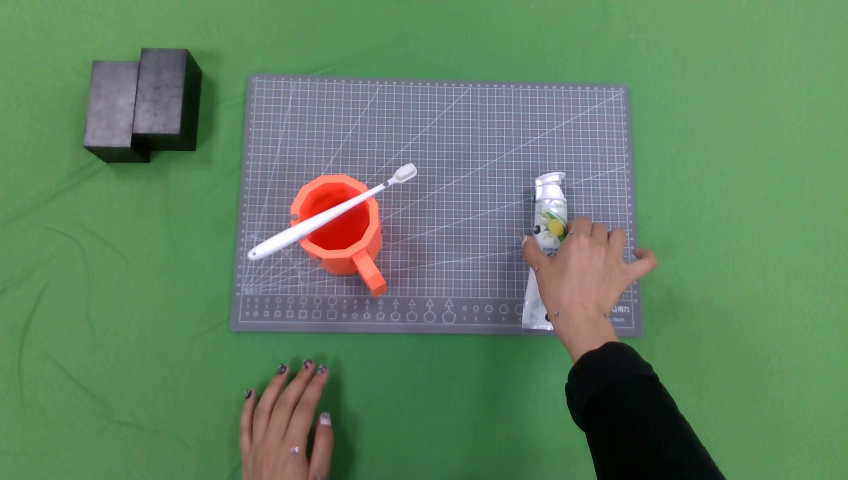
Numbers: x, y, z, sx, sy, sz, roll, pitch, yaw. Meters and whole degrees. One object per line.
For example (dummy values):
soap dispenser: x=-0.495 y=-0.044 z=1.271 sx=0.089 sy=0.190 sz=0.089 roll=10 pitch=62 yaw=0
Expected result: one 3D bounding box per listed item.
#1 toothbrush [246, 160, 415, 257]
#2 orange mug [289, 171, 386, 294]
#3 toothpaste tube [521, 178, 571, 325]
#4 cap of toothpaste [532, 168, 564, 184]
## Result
toothbrush: x=-0.088 y=-0.031 z=0.580 sx=0.182 sy=0.016 sz=0.014 roll=-29 pitch=86 yaw=-7
orange mug: x=-0.080 y=-0.002 z=0.628 sx=0.083 sy=0.101 sz=0.125 roll=-33 pitch=77 yaw=-8
toothpaste tube: x=0.136 y=0.011 z=0.670 sx=0.055 sy=0.034 sz=0.164 roll=1 pitch=82 yaw=4
cap of toothpaste: x=0.140 y=-0.070 z=0.680 sx=0.037 sy=0.037 sz=0.011 roll=-9 pitch=76 yaw=-4
